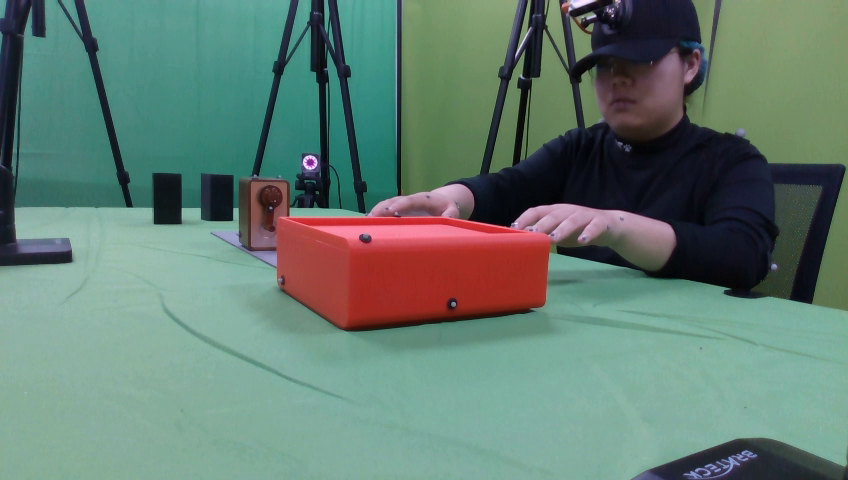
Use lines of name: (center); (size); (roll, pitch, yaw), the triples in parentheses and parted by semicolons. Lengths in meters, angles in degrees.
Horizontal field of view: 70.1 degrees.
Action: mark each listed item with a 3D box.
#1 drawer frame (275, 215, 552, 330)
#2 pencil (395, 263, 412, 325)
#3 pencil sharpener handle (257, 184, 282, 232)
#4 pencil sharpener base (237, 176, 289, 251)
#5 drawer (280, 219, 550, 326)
drawer frame: (-0.017, 0.022, 0.610); (0.215, 0.082, 0.200); (-2, 9, -31)
pencil: (-0.021, 0.052, 0.614); (0.012, 0.012, 0.194); (3, 12, 0)
pencil sharpener handle: (-0.219, -0.046, 0.865); (0.036, 0.067, 0.030); (6, 5, -29)
pencil sharpener base: (-0.243, -0.040, 0.912); (0.061, 0.107, 0.076); (-1, 8, -29)
drawer: (-0.016, 0.024, 0.612); (0.213, 0.073, 0.193); (-3, 9, -30)
